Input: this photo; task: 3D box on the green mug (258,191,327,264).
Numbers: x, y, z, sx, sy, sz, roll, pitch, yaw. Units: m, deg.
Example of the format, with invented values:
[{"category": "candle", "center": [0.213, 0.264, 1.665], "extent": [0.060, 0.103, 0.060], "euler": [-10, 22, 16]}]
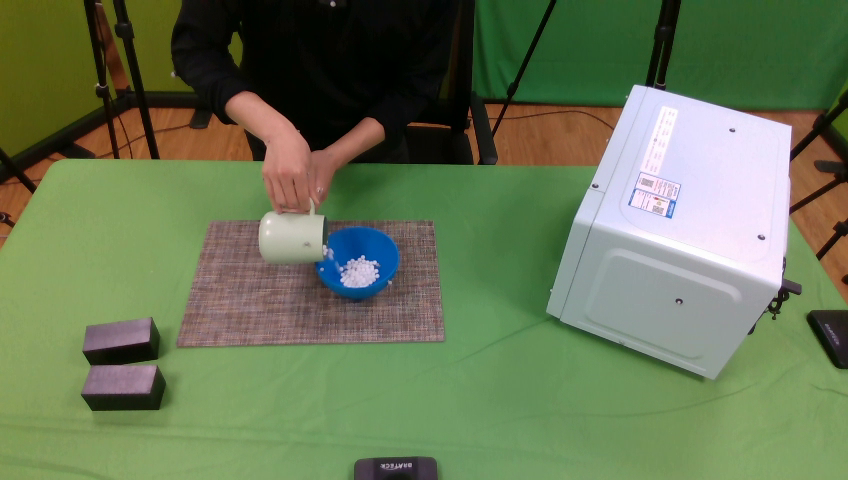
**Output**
[{"category": "green mug", "center": [-0.222, -0.021, 1.026], "extent": [0.105, 0.125, 0.092], "euler": [1, 16, -2]}]

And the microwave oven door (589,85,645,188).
[{"category": "microwave oven door", "center": [0.342, -0.107, 1.149], "extent": [0.039, 0.245, 0.354], "euler": [20, 48, 15]}]

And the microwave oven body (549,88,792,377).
[{"category": "microwave oven body", "center": [0.456, -0.028, 1.088], "extent": [0.325, 0.261, 0.440], "euler": [20, 47, 16]}]

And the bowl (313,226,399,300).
[{"category": "bowl", "center": [-0.121, 0.054, 1.091], "extent": [0.151, 0.077, 0.150], "euler": [2, 46, -2]}]

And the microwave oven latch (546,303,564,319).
[{"category": "microwave oven latch", "center": [0.242, 0.102, 1.081], "extent": [0.030, 0.029, 0.079], "euler": [21, 48, 17]}]
